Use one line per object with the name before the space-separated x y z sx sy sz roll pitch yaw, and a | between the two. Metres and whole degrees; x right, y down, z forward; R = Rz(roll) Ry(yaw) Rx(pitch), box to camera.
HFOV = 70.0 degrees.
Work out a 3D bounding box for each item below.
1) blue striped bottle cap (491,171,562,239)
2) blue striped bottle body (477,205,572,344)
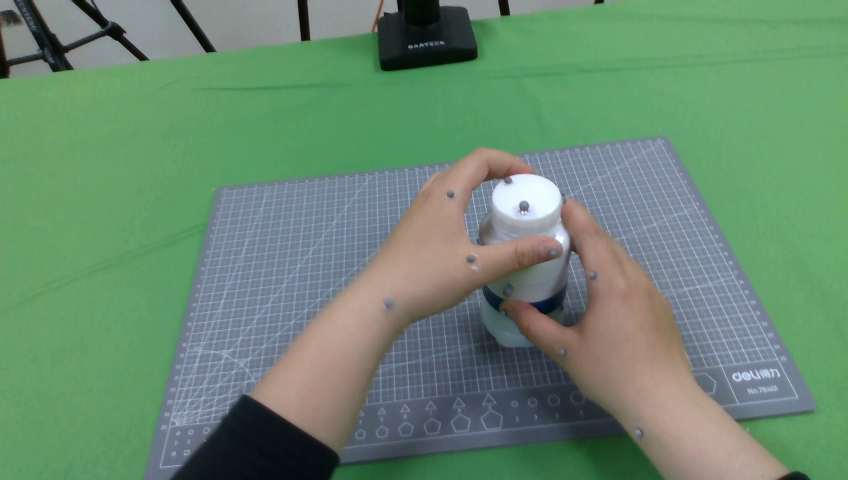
blue striped bottle cap | 0.065 -0.023 0.384 0.044 0.021 0.044 -4 48 5
blue striped bottle body | 0.070 0.015 0.425 0.063 0.122 0.062 -4 47 4
